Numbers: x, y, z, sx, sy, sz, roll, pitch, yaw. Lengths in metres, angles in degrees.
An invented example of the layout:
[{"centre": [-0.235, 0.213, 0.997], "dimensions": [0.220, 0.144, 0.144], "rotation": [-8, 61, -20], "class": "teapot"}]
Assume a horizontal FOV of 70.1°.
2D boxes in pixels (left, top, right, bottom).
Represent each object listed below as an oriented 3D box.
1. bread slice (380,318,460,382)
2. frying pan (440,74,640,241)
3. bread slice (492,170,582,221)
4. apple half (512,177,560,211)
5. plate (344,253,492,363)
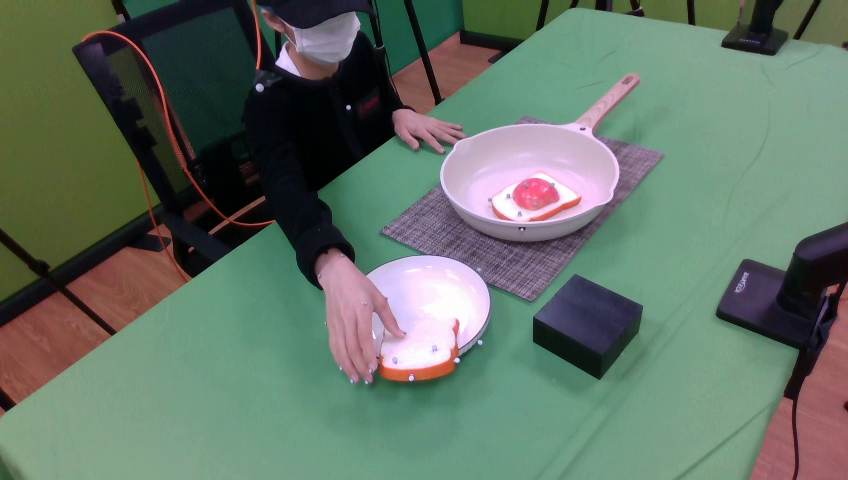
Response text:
[{"centre": [-0.005, 0.137, 0.770], "dimensions": [0.105, 0.019, 0.131], "rotation": [-7, 19, 4], "class": "bread slice"}, {"centre": [0.245, -0.161, 1.058], "dimensions": [0.304, 0.103, 0.489], "rotation": [30, 61, 35], "class": "frying pan"}, {"centre": [0.183, -0.066, 1.015], "dimensions": [0.135, 0.018, 0.106], "rotation": [-28, 43, -22], "class": "bread slice"}, {"centre": [0.184, -0.085, 1.001], "dimensions": [0.081, 0.033, 0.081], "rotation": [-2, 41, 2], "class": "apple half"}, {"centre": [-0.008, 0.100, 0.847], "dimensions": [0.207, 0.039, 0.206], "rotation": [-4, 40, 4], "class": "plate"}]
